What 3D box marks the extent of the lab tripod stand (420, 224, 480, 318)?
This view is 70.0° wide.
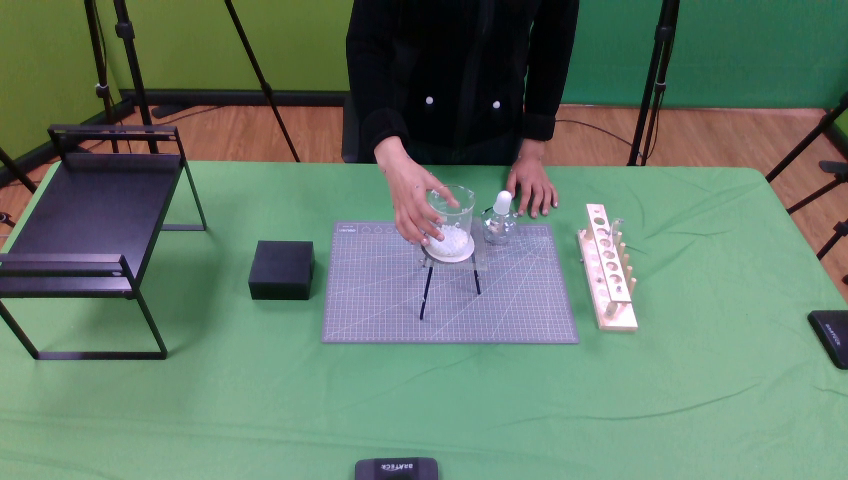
[{"bbox_3d":[0.034,0.051,1.071,0.148,0.132,0.147,3,48,-3],"label":"lab tripod stand"}]

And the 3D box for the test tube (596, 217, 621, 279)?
[{"bbox_3d":[0.331,0.018,1.094,0.017,0.151,0.017,0,45,0],"label":"test tube"}]

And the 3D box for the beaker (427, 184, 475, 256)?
[{"bbox_3d":[0.043,-0.031,0.987,0.084,0.101,0.073,-24,50,-24],"label":"beaker"}]

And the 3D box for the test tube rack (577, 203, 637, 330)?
[{"bbox_3d":[0.348,0.045,1.139,0.067,0.085,0.241,2,46,-2],"label":"test tube rack"}]

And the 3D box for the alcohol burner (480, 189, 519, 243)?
[{"bbox_3d":[0.150,-0.051,1.192,0.078,0.120,0.077,1,47,-1],"label":"alcohol burner"}]

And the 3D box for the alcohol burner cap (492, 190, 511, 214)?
[{"bbox_3d":[0.151,-0.076,1.165,0.034,0.048,0.033,5,50,-6],"label":"alcohol burner cap"}]

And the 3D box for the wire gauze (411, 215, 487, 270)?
[{"bbox_3d":[0.041,0.002,1.026,0.125,0.011,0.120,1,46,-3],"label":"wire gauze"}]
